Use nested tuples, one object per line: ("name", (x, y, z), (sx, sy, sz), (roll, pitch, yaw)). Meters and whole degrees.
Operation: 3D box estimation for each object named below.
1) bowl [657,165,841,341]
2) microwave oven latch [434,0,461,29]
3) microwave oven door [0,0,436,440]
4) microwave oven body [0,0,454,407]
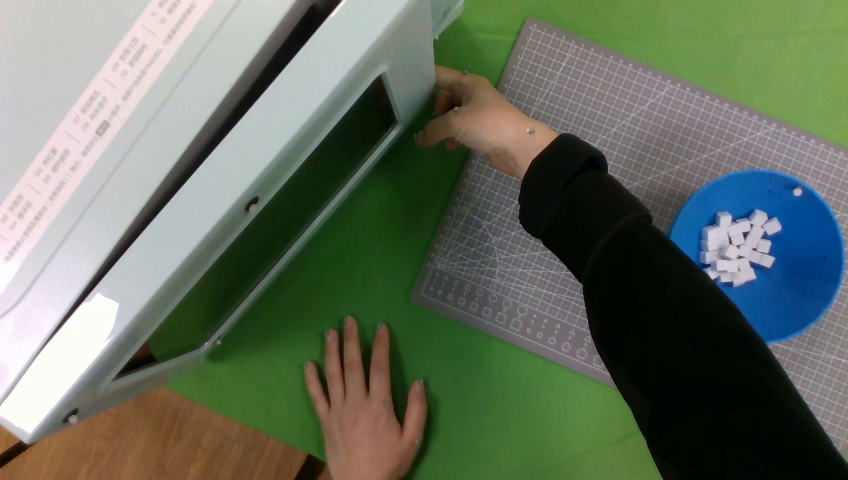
("bowl", (0.278, 0.012, 0.550), (0.151, 0.077, 0.151), (0, 90, 2))
("microwave oven latch", (0.002, -0.208, 0.560), (0.079, 0.029, 0.030), (-45, 90, 1))
("microwave oven door", (-0.122, -0.022, 0.462), (0.039, 0.244, 0.356), (41, 91, 2))
("microwave oven body", (-0.225, -0.152, 0.469), (0.326, 0.260, 0.441), (37, 91, 1))
